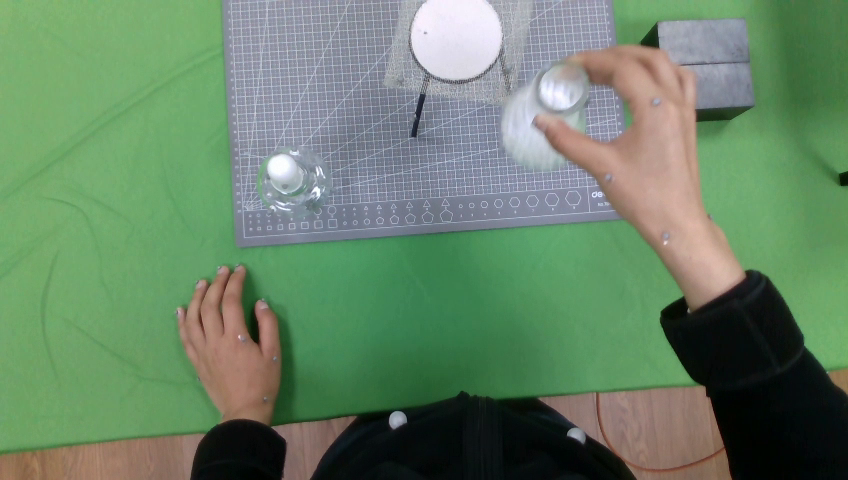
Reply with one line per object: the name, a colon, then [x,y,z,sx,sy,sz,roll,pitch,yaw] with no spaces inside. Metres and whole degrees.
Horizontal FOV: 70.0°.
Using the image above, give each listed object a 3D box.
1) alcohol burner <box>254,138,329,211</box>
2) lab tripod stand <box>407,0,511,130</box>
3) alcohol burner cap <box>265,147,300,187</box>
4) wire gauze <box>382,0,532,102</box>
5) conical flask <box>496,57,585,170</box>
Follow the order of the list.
alcohol burner: [-0.139,-0.070,0.623,0.078,0.119,0.078,0,87,-1]
lab tripod stand: [0.025,-0.192,0.629,0.148,0.131,0.148,0,85,0]
alcohol burner cap: [-0.139,-0.073,0.588,0.034,0.048,0.033,1,81,-5]
wire gauze: [0.033,-0.197,0.562,0.121,0.011,0.125,13,85,-1]
conical flask: [0.095,-0.101,0.468,0.075,0.122,0.075,0,86,5]
